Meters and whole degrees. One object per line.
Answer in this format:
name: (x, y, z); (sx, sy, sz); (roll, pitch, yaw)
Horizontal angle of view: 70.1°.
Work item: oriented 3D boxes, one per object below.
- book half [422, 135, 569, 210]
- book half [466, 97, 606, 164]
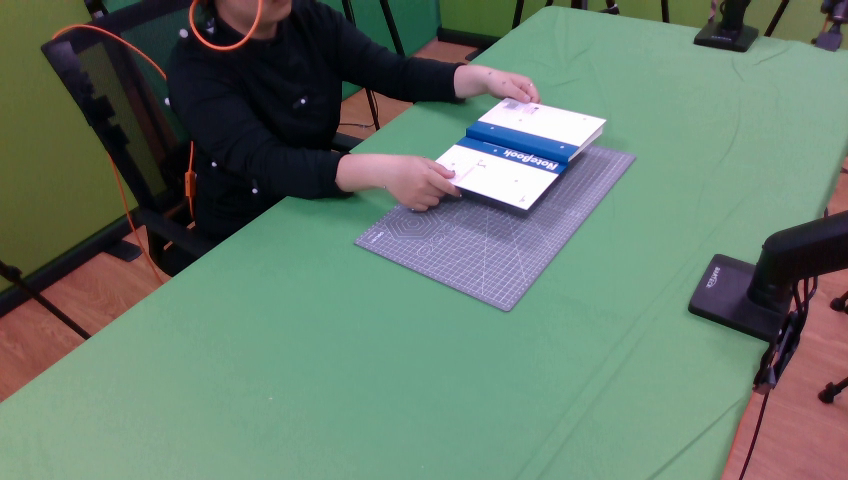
book half: (0.119, -0.121, 1.027); (0.208, 0.007, 0.143); (22, 49, 30)
book half: (0.204, -0.207, 1.105); (0.208, 0.016, 0.149); (22, 47, 31)
